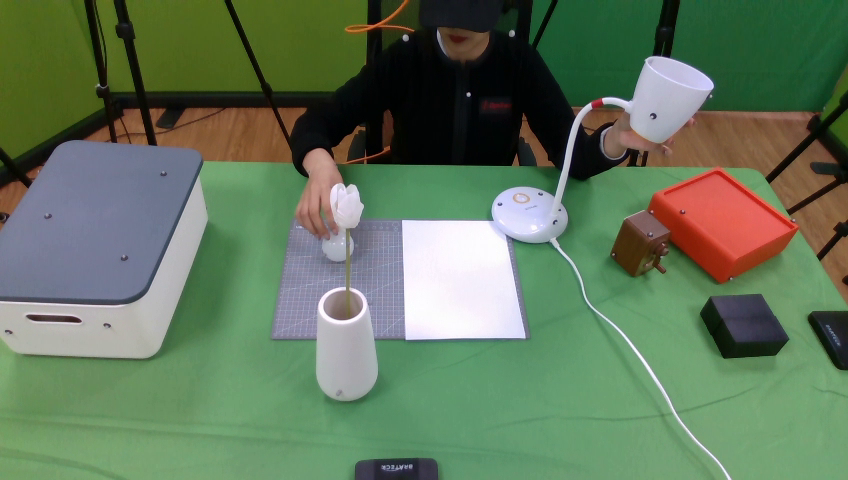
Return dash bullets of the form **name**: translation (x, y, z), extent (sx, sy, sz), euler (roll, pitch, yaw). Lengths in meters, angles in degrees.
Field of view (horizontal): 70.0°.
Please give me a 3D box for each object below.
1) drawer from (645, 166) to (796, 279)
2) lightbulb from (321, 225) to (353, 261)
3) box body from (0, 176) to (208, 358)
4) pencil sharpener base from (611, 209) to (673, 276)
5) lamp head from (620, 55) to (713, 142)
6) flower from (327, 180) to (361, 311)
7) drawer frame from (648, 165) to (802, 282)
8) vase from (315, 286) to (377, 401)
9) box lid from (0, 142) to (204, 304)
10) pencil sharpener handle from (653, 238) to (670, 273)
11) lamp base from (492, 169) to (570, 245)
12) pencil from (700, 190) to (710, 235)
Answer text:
- **drawer**: translation (0.600, -0.041, 1.236), extent (0.195, 0.073, 0.210), euler (-21, 52, -23)
- **lightbulb**: translation (-0.163, -0.001, 1.165), extent (0.059, 0.060, 0.107), euler (4, 30, 0)
- **box body**: translation (-0.546, 0.017, 1.045), extent (0.254, 0.161, 0.361), euler (2, 46, -2)
- **pencil sharpener base**: translation (0.416, 0.007, 1.158), extent (0.061, 0.107, 0.076), euler (-21, 51, -22)
- **lamp head**: translation (0.380, -0.223, 0.977), extent (0.112, 0.123, 0.111), euler (14, 40, -12)
- **flower**: translation (-0.110, 0.086, 0.867), extent (0.044, 0.363, 0.038), euler (22, 33, 35)
- **drawer frame**: translation (0.603, -0.040, 1.233), extent (0.202, 0.083, 0.212), euler (-21, 51, -23)
- **vase**: translation (-0.119, 0.159, 0.911), extent (0.098, 0.201, 0.097), euler (2, 47, -2)
- **box lid**: translation (-0.534, -0.044, 0.995), extent (0.263, 0.015, 0.369), euler (3, 45, -3)
- **pencil sharpener handle**: translation (0.444, 0.030, 1.120), extent (0.036, 0.068, 0.030), euler (-25, 52, -18)
- **lamp base**: translation (0.234, -0.101, 1.198), extent (0.161, 0.181, 0.178), euler (-24, 56, -25)
- **pencil**: translation (0.584, -0.058, 1.257), extent (0.012, 0.012, 0.193), euler (16, 35, 12)
